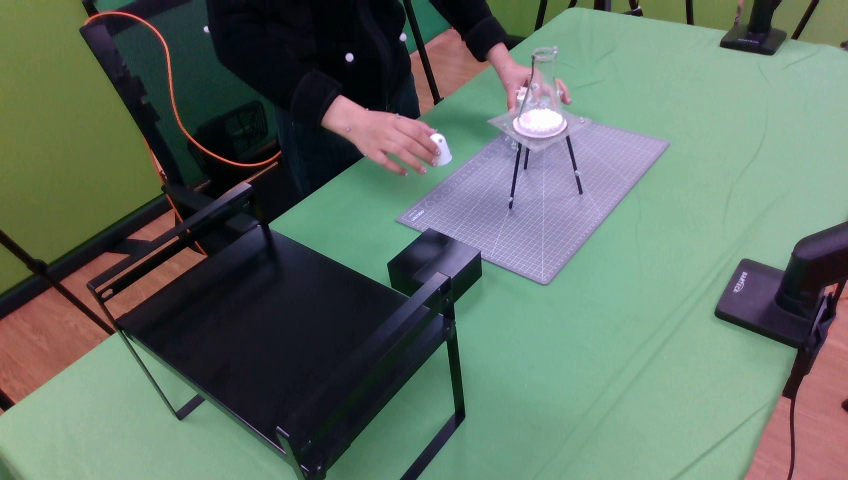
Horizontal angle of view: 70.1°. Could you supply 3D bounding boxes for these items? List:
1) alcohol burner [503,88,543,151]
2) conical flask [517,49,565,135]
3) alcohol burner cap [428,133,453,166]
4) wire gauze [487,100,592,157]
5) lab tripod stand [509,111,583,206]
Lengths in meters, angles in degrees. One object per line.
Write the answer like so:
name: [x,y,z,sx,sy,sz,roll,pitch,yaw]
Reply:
alcohol burner: [0.187,-0.231,1.144,0.078,0.119,0.077,-6,38,5]
conical flask: [0.183,-0.231,0.936,0.075,0.122,0.075,-4,40,4]
alcohol burner cap: [0.023,-0.141,0.919,0.034,0.048,0.033,-11,39,10]
wire gauze: [0.185,-0.187,0.974,0.122,0.011,0.124,-28,47,-22]
lab tripod stand: [0.198,-0.139,1.019,0.148,0.132,0.147,-3,39,3]
